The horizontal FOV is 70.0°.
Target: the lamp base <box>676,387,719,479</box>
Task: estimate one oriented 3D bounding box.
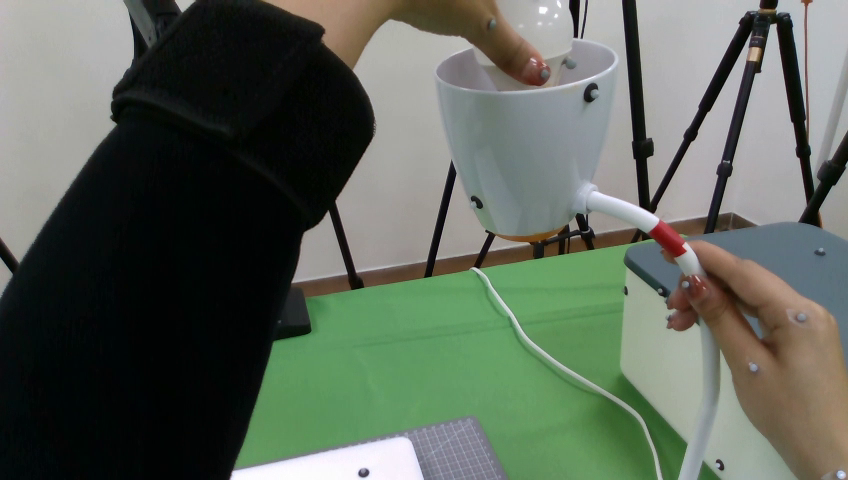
[{"bbox_3d":[0.175,0.204,0.429,0.160,0.181,0.179,10,26,20],"label":"lamp base"}]

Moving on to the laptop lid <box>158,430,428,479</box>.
[{"bbox_3d":[-0.155,0.267,0.477,0.357,0.013,0.239,-7,29,-11],"label":"laptop lid"}]

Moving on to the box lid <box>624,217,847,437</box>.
[{"bbox_3d":[0.386,0.067,0.551,0.264,0.015,0.367,-8,27,-15],"label":"box lid"}]

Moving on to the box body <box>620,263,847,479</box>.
[{"bbox_3d":[0.388,0.135,0.583,0.255,0.161,0.360,-9,27,-15],"label":"box body"}]

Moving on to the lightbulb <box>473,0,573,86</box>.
[{"bbox_3d":[0.064,-0.104,0.374,0.059,0.108,0.059,-10,24,5],"label":"lightbulb"}]

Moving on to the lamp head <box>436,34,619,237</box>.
[{"bbox_3d":[0.071,-0.063,0.396,0.112,0.124,0.111,-9,28,5],"label":"lamp head"}]

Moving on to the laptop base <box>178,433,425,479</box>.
[{"bbox_3d":[-0.155,0.276,0.484,0.355,0.023,0.233,-8,30,-13],"label":"laptop base"}]
